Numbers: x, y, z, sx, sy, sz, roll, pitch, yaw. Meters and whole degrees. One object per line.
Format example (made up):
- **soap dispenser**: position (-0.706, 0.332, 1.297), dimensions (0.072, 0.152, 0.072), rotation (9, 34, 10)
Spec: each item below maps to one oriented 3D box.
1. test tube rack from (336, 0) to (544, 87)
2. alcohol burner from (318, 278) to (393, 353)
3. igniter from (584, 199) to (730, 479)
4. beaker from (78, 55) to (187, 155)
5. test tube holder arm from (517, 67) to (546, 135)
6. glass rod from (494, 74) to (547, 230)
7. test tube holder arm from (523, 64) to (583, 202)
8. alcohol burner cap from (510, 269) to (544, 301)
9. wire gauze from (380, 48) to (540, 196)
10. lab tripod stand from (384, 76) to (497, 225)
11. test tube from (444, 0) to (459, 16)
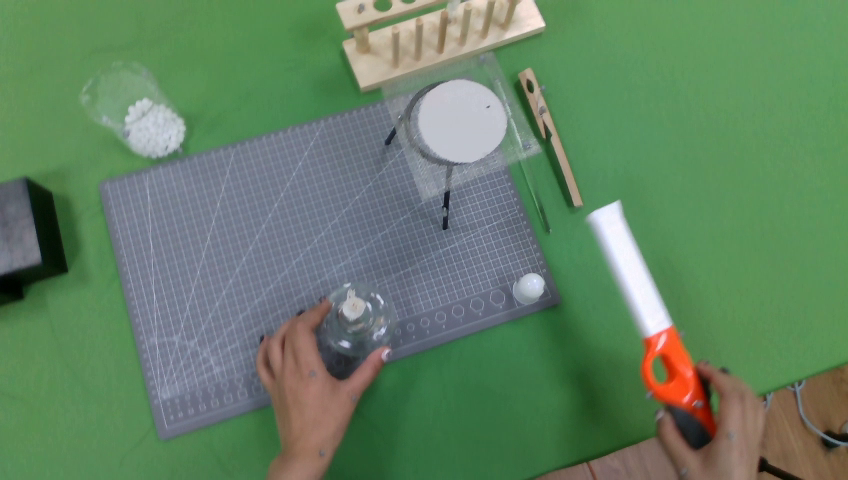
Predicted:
- **test tube rack**: position (0.026, -0.265, 0.711), dimensions (0.242, 0.085, 0.066), rotation (-20, 78, -7)
- **alcohol burner**: position (-0.070, 0.073, 0.608), dimensions (0.078, 0.119, 0.077), rotation (0, 74, -1)
- **igniter**: position (0.222, 0.093, 0.576), dimensions (0.057, 0.025, 0.276), rotation (-22, 86, -12)
- **beaker**: position (-0.311, -0.141, 0.658), dimensions (0.084, 0.100, 0.073), rotation (0, 75, -2)
- **test tube holder arm**: position (0.133, -0.167, 0.728), dimensions (0.010, 0.015, 0.087), rotation (-25, 78, 26)
- **glass rod**: position (0.114, -0.106, 0.717), dimensions (0.008, 0.008, 0.199), rotation (-15, 81, -7)
- **test tube holder arm**: position (0.152, -0.128, 0.717), dimensions (0.013, 0.015, 0.177), rotation (-25, 78, 26)
- **alcohol burner cap**: position (0.114, 0.046, 0.659), dimensions (0.034, 0.048, 0.033), rotation (1, 75, -2)
- **wire gauze**: position (0.033, -0.118, 0.579), dimensions (0.121, 0.011, 0.124), rotation (-20, 77, -6)
- **lab tripod stand**: position (0.019, -0.103, 0.644), dimensions (0.148, 0.132, 0.147), rotation (0, 77, 0)
- **test tube**: position (0.040, -0.298, 0.669), dimensions (0.017, 0.150, 0.017), rotation (2, 73, -7)
